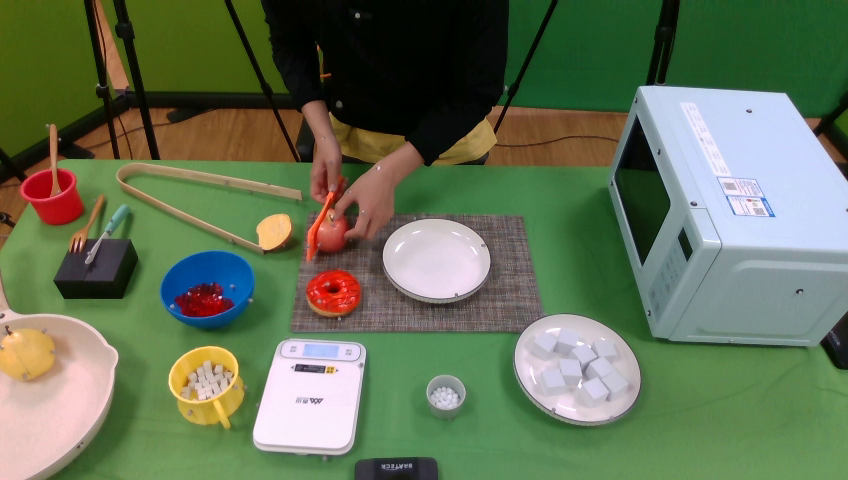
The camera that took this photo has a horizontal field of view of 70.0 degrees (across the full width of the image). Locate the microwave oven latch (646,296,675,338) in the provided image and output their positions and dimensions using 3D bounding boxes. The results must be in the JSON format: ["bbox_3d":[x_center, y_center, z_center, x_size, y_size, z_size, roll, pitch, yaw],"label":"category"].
[{"bbox_3d":[0.412,0.134,1.061,0.030,0.029,0.078,4,45,1],"label":"microwave oven latch"}]

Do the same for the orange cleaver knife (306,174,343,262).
[{"bbox_3d":[-0.194,-0.046,1.187,0.012,0.077,0.210,13,45,4],"label":"orange cleaver knife"}]

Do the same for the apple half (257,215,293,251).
[{"bbox_3d":[-0.283,-0.009,1.177,0.081,0.033,0.081,-8,60,14],"label":"apple half"}]

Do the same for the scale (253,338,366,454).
[{"bbox_3d":[-0.175,0.236,0.951,0.149,0.032,0.199,4,45,-1],"label":"scale"}]

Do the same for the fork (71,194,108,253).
[{"bbox_3d":[-0.634,-0.036,1.158,0.028,0.019,0.206,-8,31,-8],"label":"fork"}]

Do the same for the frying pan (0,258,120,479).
[{"bbox_3d":[-0.647,0.164,0.936,0.307,0.103,0.485,-19,58,-22],"label":"frying pan"}]

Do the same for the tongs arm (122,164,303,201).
[{"bbox_3d":[-0.444,-0.113,1.268,0.384,0.026,0.050,12,50,8],"label":"tongs arm"}]

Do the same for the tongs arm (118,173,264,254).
[{"bbox_3d":[-0.474,-0.054,1.212,0.386,0.028,0.028,23,56,18],"label":"tongs arm"}]

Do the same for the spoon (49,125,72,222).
[{"bbox_3d":[-0.718,-0.131,1.189,0.041,0.021,0.193,-4,90,-7],"label":"spoon"}]

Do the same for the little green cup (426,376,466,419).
[{"bbox_3d":[0.033,0.248,0.950,0.061,0.039,0.061,2,46,-2],"label":"little green cup"}]

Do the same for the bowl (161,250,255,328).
[{"bbox_3d":[-0.362,0.098,1.039,0.151,0.077,0.150,2,45,-2],"label":"bowl"}]

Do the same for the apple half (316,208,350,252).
[{"bbox_3d":[-0.170,-0.013,1.159,0.053,0.075,0.080,17,40,2],"label":"apple half"}]

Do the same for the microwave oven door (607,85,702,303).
[{"bbox_3d":[0.423,-0.094,1.140,0.039,0.245,0.353,2,46,-1],"label":"microwave oven door"}]

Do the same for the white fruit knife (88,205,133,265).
[{"bbox_3d":[-0.583,-0.013,1.129,0.016,0.027,0.206,-1,32,-4],"label":"white fruit knife"}]

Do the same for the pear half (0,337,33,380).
[{"bbox_3d":[-0.631,0.184,0.921,0.070,0.088,0.031,29,49,19],"label":"pear half"}]

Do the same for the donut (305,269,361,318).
[{"bbox_3d":[-0.160,0.094,1.075,0.099,0.048,0.098,4,45,-3],"label":"donut"}]

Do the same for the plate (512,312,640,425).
[{"bbox_3d":[0.246,0.213,0.999,0.208,0.039,0.206,2,46,-2],"label":"plate"}]

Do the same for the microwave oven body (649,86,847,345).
[{"bbox_3d":[0.567,-0.053,1.118,0.326,0.261,0.439,2,45,-1],"label":"microwave oven body"}]

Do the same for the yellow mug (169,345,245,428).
[{"bbox_3d":[-0.322,0.230,0.922,0.100,0.064,0.130,-24,53,-25],"label":"yellow mug"}]

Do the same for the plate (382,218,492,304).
[{"bbox_3d":[0.023,0.042,1.143,0.209,0.038,0.208,2,46,-2],"label":"plate"}]

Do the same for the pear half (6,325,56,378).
[{"bbox_3d":[-0.608,0.158,0.935,0.076,0.110,0.056,31,51,20],"label":"pear half"}]
